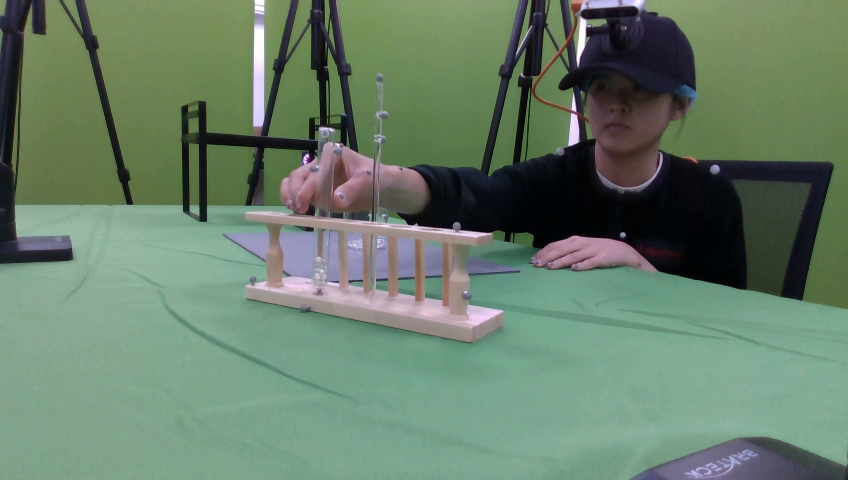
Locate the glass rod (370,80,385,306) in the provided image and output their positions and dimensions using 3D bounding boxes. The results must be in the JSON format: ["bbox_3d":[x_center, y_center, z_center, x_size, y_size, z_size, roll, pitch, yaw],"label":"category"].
[{"bbox_3d":[-0.040,-0.039,0.529,0.008,0.199,0.008,2,1,0],"label":"glass rod"}]

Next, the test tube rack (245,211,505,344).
[{"bbox_3d":[-0.049,0.025,0.547,0.241,0.085,0.067,7,8,29],"label":"test tube rack"}]

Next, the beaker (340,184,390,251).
[{"bbox_3d":[-0.090,-0.036,0.943,0.083,0.100,0.074,10,10,41],"label":"beaker"}]

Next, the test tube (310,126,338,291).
[{"bbox_3d":[-0.092,-0.028,0.550,0.017,0.150,0.017,5,4,0],"label":"test tube"}]
